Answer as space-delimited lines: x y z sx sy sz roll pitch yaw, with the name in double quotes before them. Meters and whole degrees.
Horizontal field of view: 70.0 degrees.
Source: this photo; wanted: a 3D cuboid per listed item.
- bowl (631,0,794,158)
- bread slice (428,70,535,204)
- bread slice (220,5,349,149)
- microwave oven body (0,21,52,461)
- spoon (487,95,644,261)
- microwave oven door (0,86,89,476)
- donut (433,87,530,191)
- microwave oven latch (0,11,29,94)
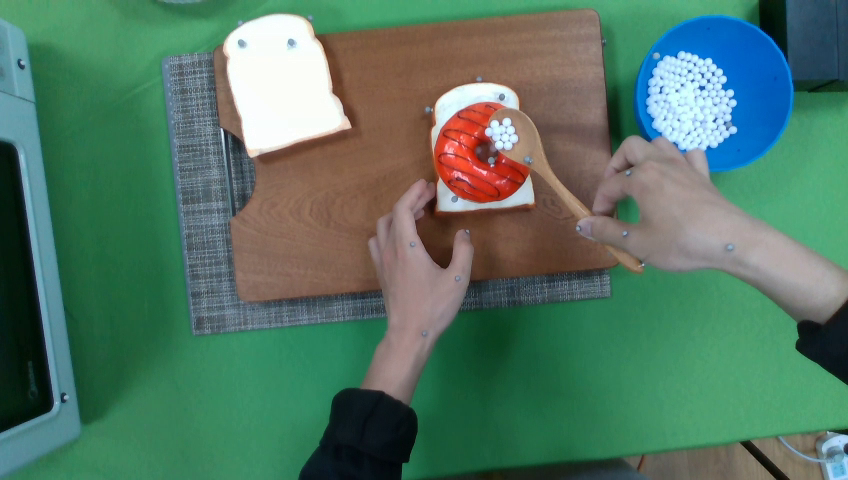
"bowl" 0.275 -0.153 0.609 0.151 0.077 0.151 0 92 1
"bread slice" 0.054 -0.105 0.614 0.105 0.019 0.131 -7 93 0
"bread slice" -0.148 -0.167 0.612 0.107 0.018 0.134 -20 90 0
"microwave oven body" -0.551 0.008 0.526 0.326 0.260 0.441 -9 92 0
"spoon" 0.115 -0.054 0.510 0.042 0.022 0.192 -49 59 26
"microwave oven door" -0.400 0.029 0.521 0.039 0.243 0.355 -9 91 1
"donut" 0.057 -0.097 0.584 0.099 0.048 0.099 0 93 0
"microwave oven latch" -0.428 -0.190 0.616 0.030 0.029 0.079 -8 92 0
